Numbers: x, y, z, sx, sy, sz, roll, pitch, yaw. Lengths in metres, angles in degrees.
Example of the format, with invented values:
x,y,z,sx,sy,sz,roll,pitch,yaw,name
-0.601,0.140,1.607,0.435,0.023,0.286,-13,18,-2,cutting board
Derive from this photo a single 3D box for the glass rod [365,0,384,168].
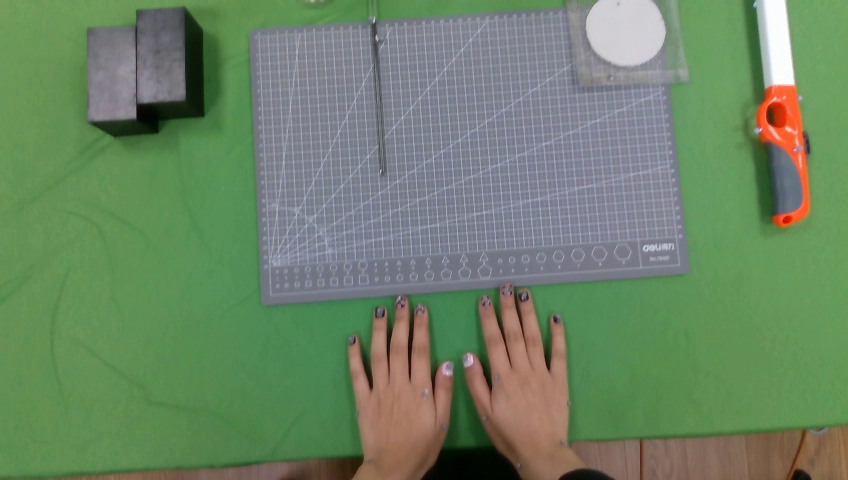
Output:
x,y,z,sx,sy,sz,roll,pitch,yaw,name
-0.054,-0.175,0.653,0.008,0.008,0.199,-5,84,-1,glass rod

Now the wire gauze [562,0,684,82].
x,y,z,sx,sy,sz,roll,pitch,yaw,name
0.216,-0.233,0.661,0.125,0.011,0.121,-5,84,0,wire gauze

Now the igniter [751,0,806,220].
x,y,z,sx,sy,sz,roll,pitch,yaw,name
0.374,-0.159,0.646,0.057,0.025,0.276,-2,85,-10,igniter
